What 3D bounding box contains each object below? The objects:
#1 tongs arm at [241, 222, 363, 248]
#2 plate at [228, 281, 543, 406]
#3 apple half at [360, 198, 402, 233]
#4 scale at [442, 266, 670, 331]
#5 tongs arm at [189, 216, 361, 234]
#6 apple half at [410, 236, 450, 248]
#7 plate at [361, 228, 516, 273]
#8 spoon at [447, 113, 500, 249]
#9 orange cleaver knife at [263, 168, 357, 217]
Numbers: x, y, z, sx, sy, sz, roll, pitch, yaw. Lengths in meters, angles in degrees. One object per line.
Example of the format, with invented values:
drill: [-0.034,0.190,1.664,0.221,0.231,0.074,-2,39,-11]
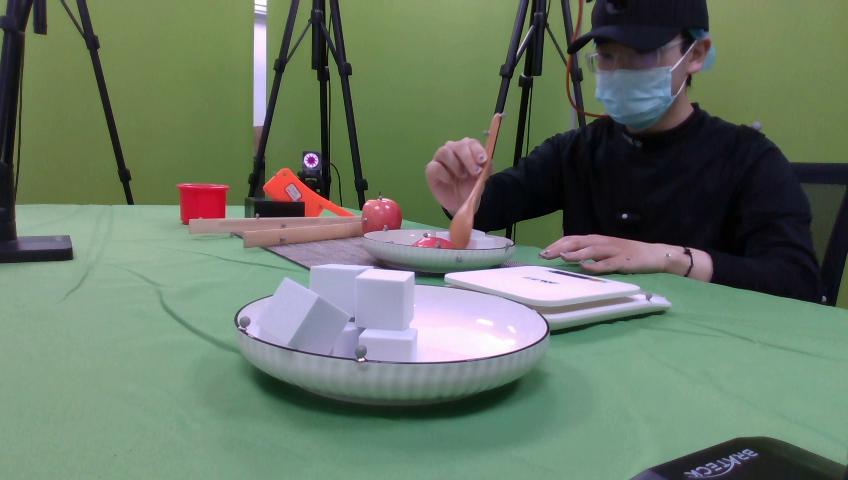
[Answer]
tongs arm: [-0.159,-0.016,1.034,0.028,0.028,0.389,2,6,33]
plate: [-0.025,0.067,0.413,0.208,0.039,0.207,3,7,0]
apple half: [-0.066,-0.033,1.014,0.053,0.074,0.081,9,6,21]
scale: [0.131,0.052,0.603,0.202,0.031,0.148,-3,9,-37]
tongs arm: [-0.221,-0.028,1.088,0.387,0.026,0.050,-3,8,-43]
apple half: [0.014,0.011,0.796,0.081,0.033,0.081,1,10,0]
plate: [0.018,0.013,0.818,0.209,0.038,0.209,2,7,0]
spoon: [0.067,-0.076,0.775,0.022,0.193,0.041,31,-19,-32]
orange cleaver knife: [-0.240,-0.077,1.294,0.212,0.077,0.012,32,-7,-26]
